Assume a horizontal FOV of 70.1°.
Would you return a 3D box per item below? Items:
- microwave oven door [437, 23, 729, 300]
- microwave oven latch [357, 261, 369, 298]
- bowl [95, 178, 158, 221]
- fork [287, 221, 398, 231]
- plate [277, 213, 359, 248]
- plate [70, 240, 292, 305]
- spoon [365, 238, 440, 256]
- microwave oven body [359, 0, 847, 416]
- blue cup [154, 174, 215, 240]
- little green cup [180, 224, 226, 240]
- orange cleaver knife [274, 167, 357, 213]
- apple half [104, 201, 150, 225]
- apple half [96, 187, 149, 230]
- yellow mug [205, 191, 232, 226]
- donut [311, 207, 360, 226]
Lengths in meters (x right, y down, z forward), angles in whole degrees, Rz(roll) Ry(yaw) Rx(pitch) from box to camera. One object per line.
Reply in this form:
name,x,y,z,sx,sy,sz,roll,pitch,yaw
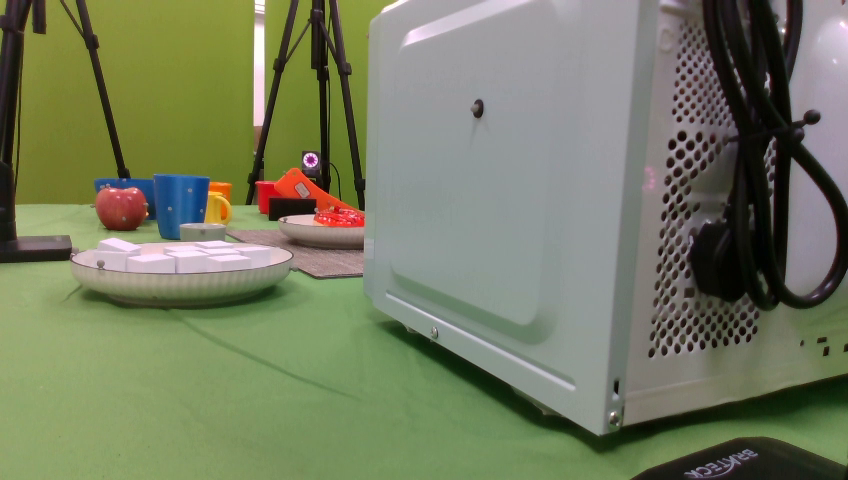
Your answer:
microwave oven door,0.181,-0.072,0.621,0.358,0.243,0.039,-2,8,-29
microwave oven latch,-0.019,0.033,0.530,0.079,0.029,0.030,0,7,-25
bowl,-0.576,-0.081,1.217,0.151,0.077,0.151,3,8,0
fork,-0.148,-0.025,1.120,0.208,0.018,0.028,-3,1,-22
plate,-0.135,-0.017,0.993,0.209,0.038,0.209,3,8,0
plate,-0.242,0.031,0.618,0.208,0.039,0.207,2,8,0
spoon,-0.023,0.006,0.907,0.041,0.021,0.194,-16,-2,30
microwave oven body,0.211,-0.047,0.474,0.444,0.260,0.324,-1,7,-28
blue cup,-0.391,-0.054,0.978,0.093,0.100,0.092,4,6,0
little green cup,-0.309,-0.001,0.846,0.061,0.038,0.061,2,8,0
orange cleaver knife,-0.238,-0.091,1.381,0.212,0.077,0.012,31,2,-19
apple half,-0.548,-0.044,1.115,0.081,0.033,0.081,18,6,-2
apple half,-0.516,-0.052,1.036,0.081,0.074,0.053,3,11,-26
yellow mug,-0.415,-0.057,1.131,0.130,0.064,0.100,6,8,16
donut,-0.137,-0.029,0.995,0.099,0.048,0.099,4,8,0
